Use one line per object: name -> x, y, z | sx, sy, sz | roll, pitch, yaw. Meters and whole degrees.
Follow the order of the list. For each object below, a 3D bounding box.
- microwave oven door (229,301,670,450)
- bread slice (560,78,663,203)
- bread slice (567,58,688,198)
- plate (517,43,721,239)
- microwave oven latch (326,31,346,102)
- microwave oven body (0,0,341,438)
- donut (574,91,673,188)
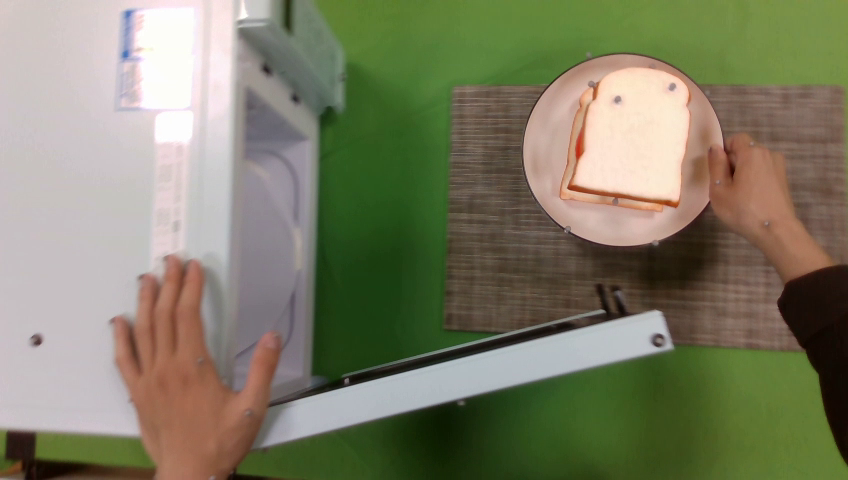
microwave oven door -> 0.029, 0.120, 0.584 | 0.356, 0.244, 0.039 | -16, 81, 6
bread slice -> 0.203, -0.109, 0.648 | 0.107, 0.018, 0.134 | 5, 87, 4
bread slice -> 0.202, -0.113, 0.591 | 0.104, 0.019, 0.131 | 9, 86, 10
plate -> 0.204, -0.102, 0.648 | 0.207, 0.039, 0.207 | 0, 87, 5
microwave oven latch -> -0.110, -0.210, 0.734 | 0.030, 0.029, 0.079 | 1, 85, 7
microwave oven body -> -0.273, -0.044, 0.643 | 0.325, 0.261, 0.440 | 0, 85, 7
donut -> 0.203, -0.102, 0.620 | 0.099, 0.048, 0.099 | 0, 88, 5
